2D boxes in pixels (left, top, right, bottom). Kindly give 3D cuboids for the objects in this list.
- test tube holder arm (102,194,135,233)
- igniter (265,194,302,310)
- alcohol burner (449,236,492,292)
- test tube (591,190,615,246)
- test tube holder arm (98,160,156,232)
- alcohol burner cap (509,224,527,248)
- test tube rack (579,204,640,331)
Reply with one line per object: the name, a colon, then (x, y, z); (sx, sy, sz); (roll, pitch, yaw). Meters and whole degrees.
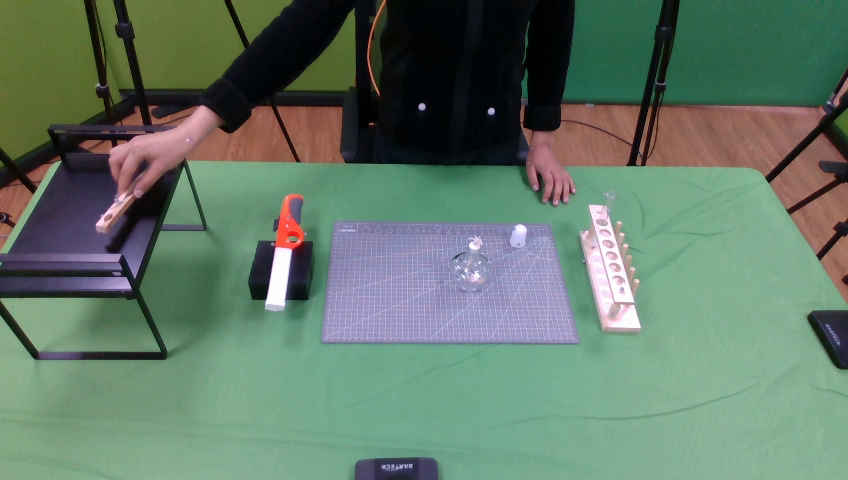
test tube holder arm: (-0.470, -0.043, 0.934); (0.010, 0.015, 0.087); (21, 41, -9)
igniter: (-0.253, 0.011, 1.099); (0.057, 0.025, 0.274); (8, 46, -12)
alcohol burner: (0.086, 0.038, 1.101); (0.078, 0.119, 0.077); (2, 44, -2)
test tube: (0.338, -0.038, 1.149); (0.017, 0.151, 0.017); (0, 50, 0)
test tube holder arm: (-0.471, -0.074, 0.967); (0.013, 0.015, 0.177); (20, 41, -11)
alcohol burner cap: (0.189, -0.011, 1.206); (0.034, 0.048, 0.033); (1, 45, -1)
test tube rack: (0.353, 0.047, 1.137); (0.067, 0.085, 0.241); (2, 46, -2)
